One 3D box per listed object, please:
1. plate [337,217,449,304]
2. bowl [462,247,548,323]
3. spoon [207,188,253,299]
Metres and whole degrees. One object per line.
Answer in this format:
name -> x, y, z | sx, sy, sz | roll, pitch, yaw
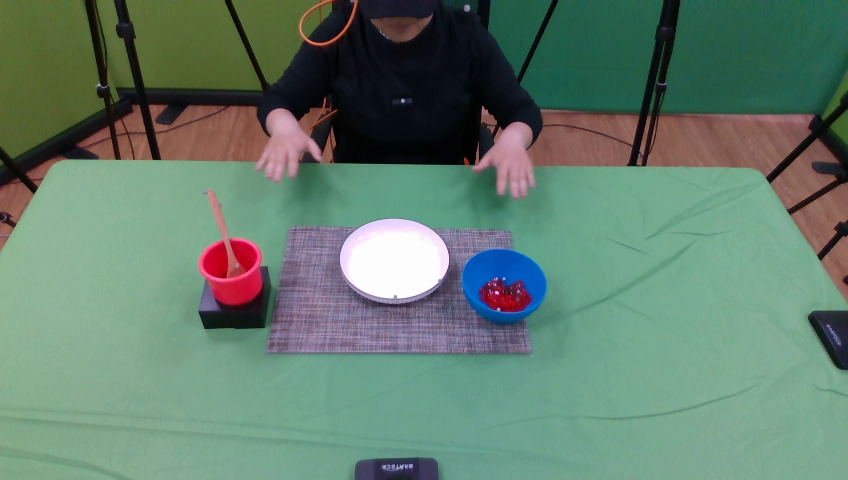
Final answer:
plate -> -0.058, 0.042, 1.136 | 0.208, 0.039, 0.206 | 2, 46, -2
bowl -> 0.138, 0.093, 1.072 | 0.151, 0.077, 0.150 | 2, 46, -2
spoon -> -0.328, 0.005, 1.013 | 0.042, 0.021, 0.193 | -16, 93, -19
